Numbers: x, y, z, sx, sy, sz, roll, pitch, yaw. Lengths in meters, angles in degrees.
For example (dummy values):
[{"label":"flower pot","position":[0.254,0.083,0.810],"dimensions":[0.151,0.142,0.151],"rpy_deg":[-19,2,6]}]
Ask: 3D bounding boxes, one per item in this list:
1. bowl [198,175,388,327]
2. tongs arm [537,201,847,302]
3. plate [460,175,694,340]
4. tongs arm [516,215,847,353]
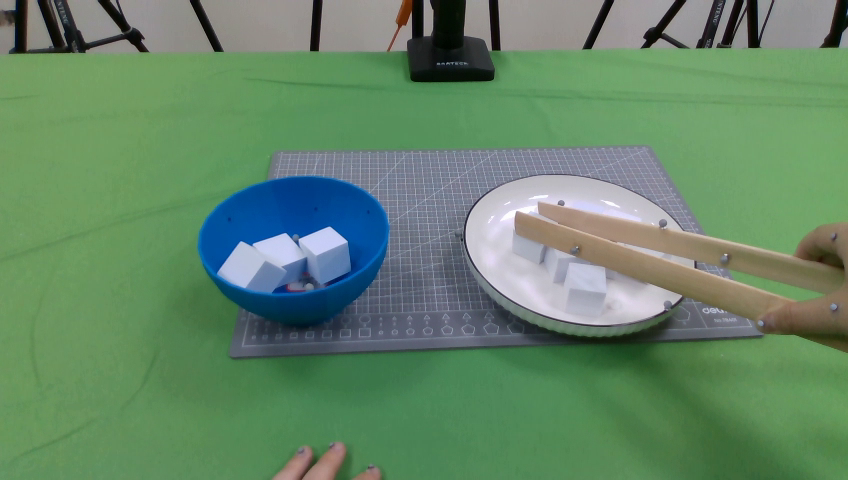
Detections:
[{"label":"bowl","position":[-0.104,0.020,0.511],"dimensions":[0.151,0.077,0.150],"rpy_deg":[1,41,-1]},{"label":"tongs arm","position":[0.237,0.027,0.434],"dimensions":[0.381,0.027,0.051],"rpy_deg":[16,38,38]},{"label":"plate","position":[0.136,0.015,0.558],"dimensions":[0.208,0.039,0.205],"rpy_deg":[2,41,-1]},{"label":"tongs arm","position":[0.221,0.037,0.421],"dimensions":[0.384,0.028,0.028],"rpy_deg":[20,37,41]}]
